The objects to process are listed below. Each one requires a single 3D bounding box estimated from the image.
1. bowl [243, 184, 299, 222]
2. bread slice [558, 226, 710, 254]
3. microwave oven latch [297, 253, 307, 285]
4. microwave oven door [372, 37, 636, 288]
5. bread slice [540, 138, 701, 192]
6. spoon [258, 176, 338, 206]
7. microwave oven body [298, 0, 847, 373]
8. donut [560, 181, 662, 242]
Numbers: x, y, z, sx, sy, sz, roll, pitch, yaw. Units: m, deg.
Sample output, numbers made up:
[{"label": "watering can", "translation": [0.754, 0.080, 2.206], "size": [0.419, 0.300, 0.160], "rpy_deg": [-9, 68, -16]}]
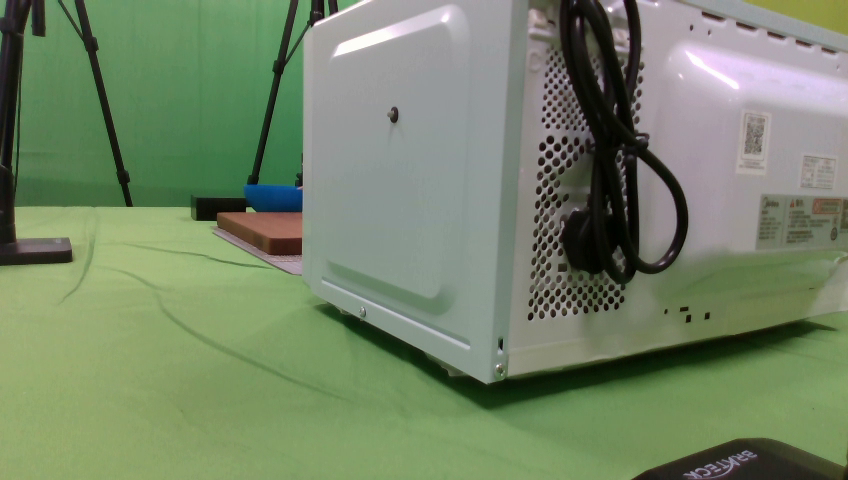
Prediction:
[{"label": "bowl", "translation": [-0.321, -0.081, 1.334], "size": [0.151, 0.077, 0.151], "rpy_deg": [3, 7, 0]}, {"label": "bread slice", "translation": [0.206, -0.001, 0.580], "size": [0.105, 0.019, 0.131], "rpy_deg": [4, 2, -15]}, {"label": "microwave oven latch", "translation": [-0.082, 0.027, 0.583], "size": [0.079, 0.029, 0.030], "rpy_deg": [-1, 7, -33]}, {"label": "microwave oven door", "translation": [0.110, -0.080, 0.687], "size": [0.358, 0.243, 0.039], "rpy_deg": [-2, 9, -33]}, {"label": "bread slice", "translation": [0.196, -0.074, 0.589], "size": [0.107, 0.018, 0.133], "rpy_deg": [-2, 21, -39]}, {"label": "spoon", "translation": [-0.279, -0.112, 1.357], "size": [0.194, 0.021, 0.041], "rpy_deg": [-28, 19, -27]}, {"label": "microwave oven body", "translation": [0.151, -0.055, 0.543], "size": [0.444, 0.260, 0.324], "rpy_deg": [-1, 7, -33]}, {"label": "donut", "translation": [0.186, -0.029, 0.604], "size": [0.099, 0.048, 0.099], "rpy_deg": [11, -9, 2]}]
